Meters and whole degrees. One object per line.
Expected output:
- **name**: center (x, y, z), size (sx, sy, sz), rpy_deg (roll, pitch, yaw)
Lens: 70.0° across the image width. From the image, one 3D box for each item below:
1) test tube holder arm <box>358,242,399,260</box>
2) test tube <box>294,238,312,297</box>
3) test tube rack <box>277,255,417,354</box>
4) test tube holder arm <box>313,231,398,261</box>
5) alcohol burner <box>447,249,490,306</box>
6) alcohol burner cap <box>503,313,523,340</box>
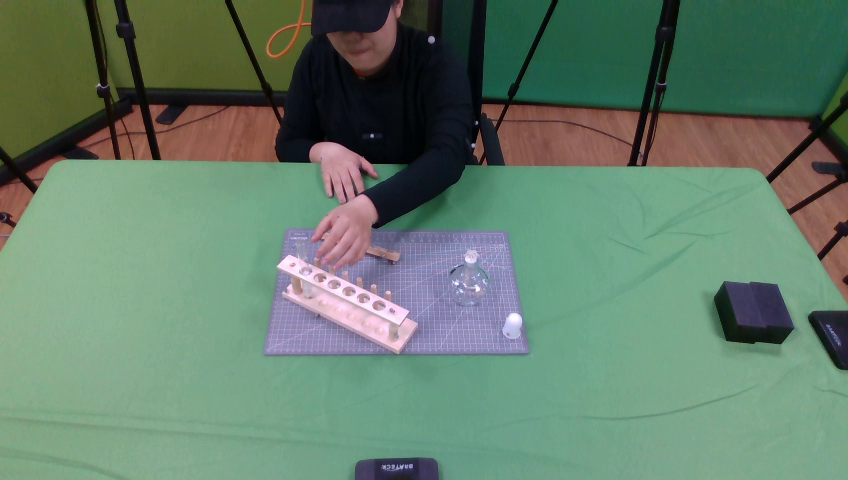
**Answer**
- **test tube holder arm**: center (-0.090, 0.021, 1.172), size (0.087, 0.015, 0.010), rpy_deg (15, 16, 12)
- **test tube**: center (-0.202, 0.050, 1.018), size (0.017, 0.151, 0.017), rpy_deg (2, 50, -2)
- **test tube rack**: center (-0.132, 0.099, 1.045), size (0.241, 0.085, 0.066), rpy_deg (23, 49, 17)
- **test tube holder arm**: center (-0.134, 0.011, 1.176), size (0.178, 0.015, 0.013), rpy_deg (15, 16, 12)
- **alcohol burner**: center (0.081, 0.062, 1.078), size (0.078, 0.120, 0.077), rpy_deg (1, 45, -1)
- **alcohol burner cap**: center (0.155, 0.147, 1.051), size (0.034, 0.048, 0.033), rpy_deg (1, 45, -1)
